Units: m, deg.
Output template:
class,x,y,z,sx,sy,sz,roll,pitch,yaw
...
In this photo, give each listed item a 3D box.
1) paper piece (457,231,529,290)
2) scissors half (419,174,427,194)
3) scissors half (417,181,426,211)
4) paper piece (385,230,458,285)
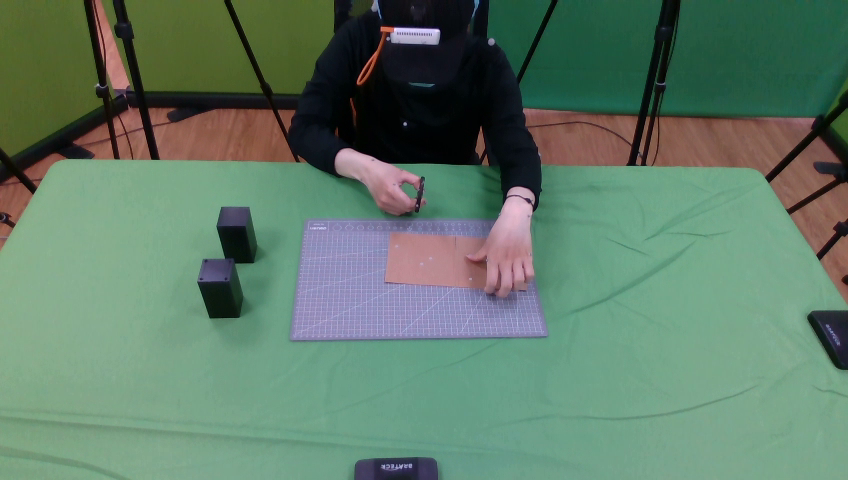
class,x,y,z,sx,sy,sz,roll,pitch,yaw
paper piece,0.131,0.039,1.171,0.138,0.009,0.135,5,51,-1
scissors half,-0.004,-0.108,1.168,0.013,0.040,0.175,5,6,3
scissors half,-0.007,-0.088,1.167,0.013,0.175,0.040,10,79,3
paper piece,-0.002,0.031,1.169,0.136,0.004,0.134,4,47,0
